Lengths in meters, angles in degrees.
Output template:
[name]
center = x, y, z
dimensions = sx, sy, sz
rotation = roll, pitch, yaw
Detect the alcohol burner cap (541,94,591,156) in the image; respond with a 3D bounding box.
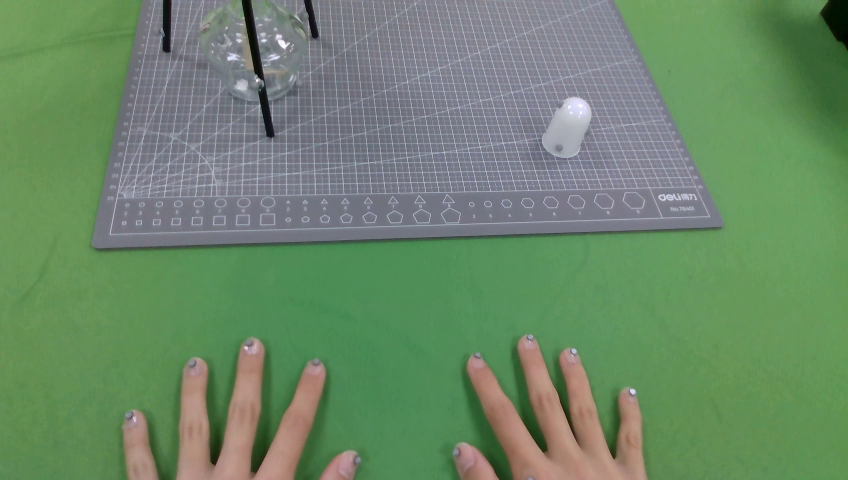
[alcohol burner cap]
center = 0.114, -0.092, 0.477
dimensions = 0.034, 0.048, 0.033
rotation = 4, 55, -6

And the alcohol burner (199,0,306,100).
[alcohol burner]
center = -0.126, -0.163, 0.443
dimensions = 0.078, 0.120, 0.077
rotation = 5, 53, -7

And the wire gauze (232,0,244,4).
[wire gauze]
center = -0.125, -0.211, 0.385
dimensions = 0.124, 0.011, 0.121
rotation = 33, 60, 8

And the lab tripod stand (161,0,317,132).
[lab tripod stand]
center = -0.130, -0.174, 0.438
dimensions = 0.149, 0.132, 0.147
rotation = 5, 56, -8
